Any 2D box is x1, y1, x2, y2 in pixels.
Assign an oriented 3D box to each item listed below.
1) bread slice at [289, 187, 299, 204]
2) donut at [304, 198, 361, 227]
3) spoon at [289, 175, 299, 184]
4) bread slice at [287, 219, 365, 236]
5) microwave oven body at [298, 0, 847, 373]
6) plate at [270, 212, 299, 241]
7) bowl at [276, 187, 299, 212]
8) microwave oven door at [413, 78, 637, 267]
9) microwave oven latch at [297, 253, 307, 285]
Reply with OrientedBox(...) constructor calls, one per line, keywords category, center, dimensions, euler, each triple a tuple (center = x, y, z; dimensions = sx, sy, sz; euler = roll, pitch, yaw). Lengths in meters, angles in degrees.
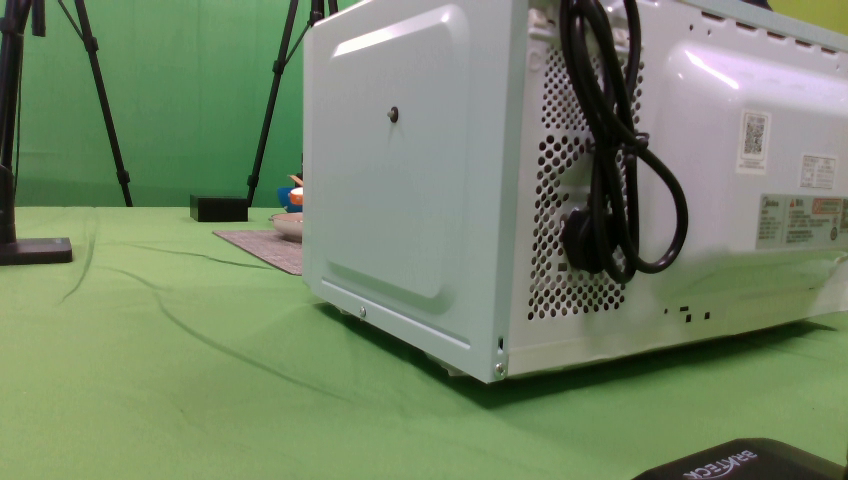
OrientedBox(category="bread slice", center=(-0.167, -0.079, 1.052), dimensions=(0.132, 0.019, 0.105), euler=(0, 13, -1))
OrientedBox(category="donut", center=(-0.160, -0.049, 1.056), dimensions=(0.099, 0.048, 0.099), euler=(4, 7, 0))
OrientedBox(category="spoon", center=(-0.261, -0.111, 1.343), dimensions=(0.042, 0.021, 0.192), euler=(-7, 33, -31))
OrientedBox(category="bread slice", center=(-0.170, -0.022, 1.057), dimensions=(0.134, 0.018, 0.107), euler=(1, 7, -6))
OrientedBox(category="microwave oven body", center=(0.151, -0.055, 0.543), dimensions=(0.444, 0.260, 0.324), euler=(-1, 7, -33))
OrientedBox(category="plate", center=(-0.162, -0.022, 1.058), dimensions=(0.208, 0.039, 0.207), euler=(2, 7, 0))
OrientedBox(category="bowl", center=(-0.241, -0.073, 1.302), dimensions=(0.151, 0.077, 0.151), euler=(1, 7, 0))
OrientedBox(category="microwave oven door", center=(0.128, -0.104, 0.888), dimensions=(0.354, 0.243, 0.039), euler=(9, 10, 41))
OrientedBox(category="microwave oven latch", center=(-0.082, 0.027, 0.582), dimensions=(0.079, 0.029, 0.030), euler=(-1, 7, -32))
